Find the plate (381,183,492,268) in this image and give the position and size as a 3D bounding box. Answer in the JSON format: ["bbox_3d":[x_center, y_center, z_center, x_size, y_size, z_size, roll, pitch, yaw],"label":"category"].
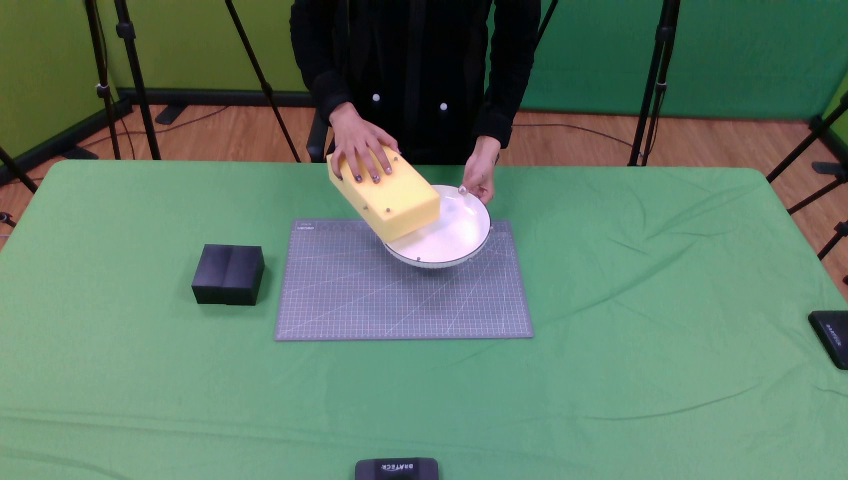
[{"bbox_3d":[0.020,-0.024,1.119,0.209,0.038,0.208,-2,47,2],"label":"plate"}]

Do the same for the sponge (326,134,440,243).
[{"bbox_3d":[-0.077,-0.099,1.114,0.118,0.061,0.205,-27,54,-22],"label":"sponge"}]
